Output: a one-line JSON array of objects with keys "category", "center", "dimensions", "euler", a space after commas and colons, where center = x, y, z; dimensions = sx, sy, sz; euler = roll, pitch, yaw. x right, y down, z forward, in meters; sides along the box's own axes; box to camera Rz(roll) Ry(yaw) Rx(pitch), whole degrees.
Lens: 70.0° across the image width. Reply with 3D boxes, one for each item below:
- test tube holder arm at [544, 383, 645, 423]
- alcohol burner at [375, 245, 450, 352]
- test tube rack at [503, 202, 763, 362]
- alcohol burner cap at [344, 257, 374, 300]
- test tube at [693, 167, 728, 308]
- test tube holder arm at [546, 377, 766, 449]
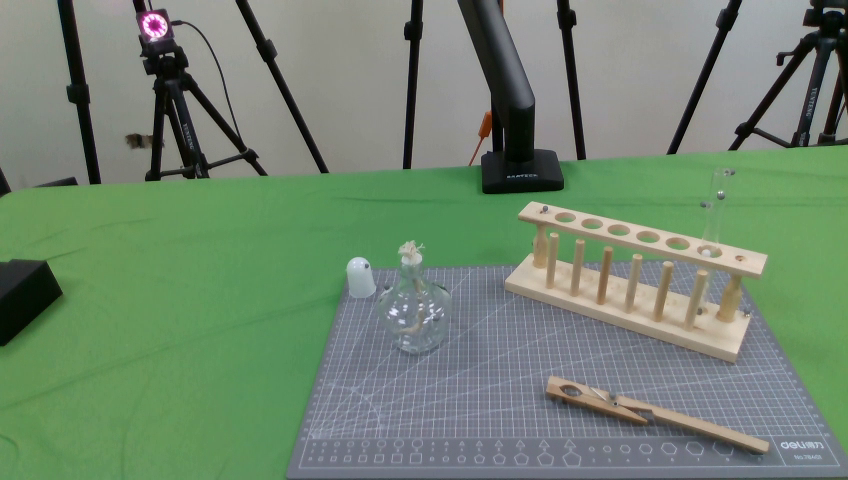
[{"category": "test tube holder arm", "center": [0.149, 0.143, 0.532], "dimensions": [0.087, 0.015, 0.010], "euler": [11, 70, 22]}, {"category": "alcohol burner", "center": [-0.013, 0.054, 0.606], "dimensions": [0.078, 0.120, 0.077], "euler": [-3, 34, 2]}, {"category": "test tube rack", "center": [0.204, 0.036, 0.628], "dimensions": [0.240, 0.086, 0.066], "euler": [16, 39, 31]}, {"category": "alcohol burner cap", "center": [-0.077, 0.042, 0.701], "dimensions": [0.034, 0.048, 0.033], "euler": [-2, 33, 2]}, {"category": "test tube", "center": [0.270, 0.002, 0.578], "dimensions": [0.017, 0.151, 0.017], "euler": [-4, 29, 3]}, {"category": "test tube holder arm", "center": [0.192, 0.146, 0.517], "dimensions": [0.177, 0.015, 0.013], "euler": [10, 70, 22]}]
